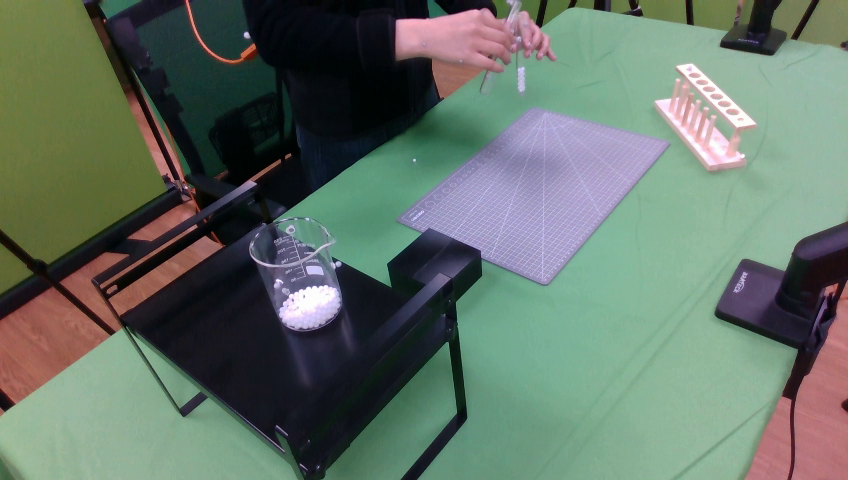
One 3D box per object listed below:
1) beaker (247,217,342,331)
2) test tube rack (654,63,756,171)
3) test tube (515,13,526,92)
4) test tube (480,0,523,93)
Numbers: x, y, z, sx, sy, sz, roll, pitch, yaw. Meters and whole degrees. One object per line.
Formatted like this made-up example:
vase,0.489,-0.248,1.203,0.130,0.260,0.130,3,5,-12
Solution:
beaker,-0.124,0.037,0.614,0.084,0.101,0.073,-7,41,0
test tube rack,0.510,-0.233,1.120,0.067,0.085,0.241,-8,41,-1
test tube,0.168,-0.321,1.045,0.017,0.151,0.017,-5,48,6
test tube,0.121,-0.304,0.955,0.017,0.150,0.017,17,24,-8
